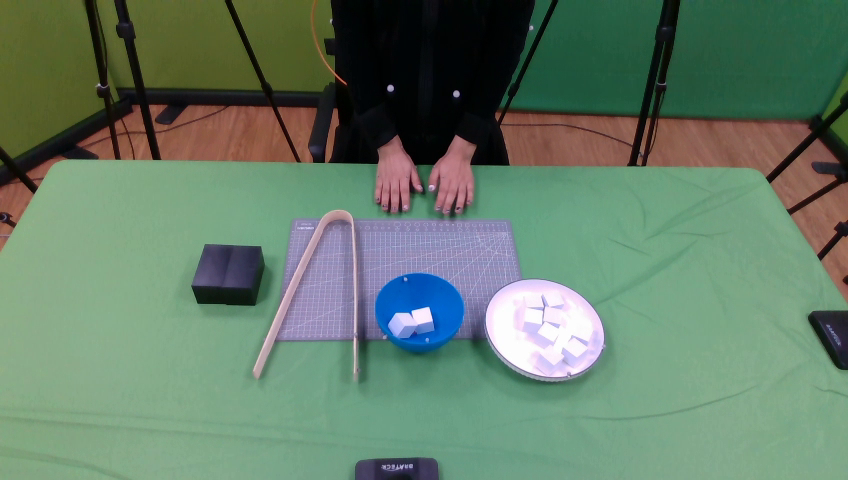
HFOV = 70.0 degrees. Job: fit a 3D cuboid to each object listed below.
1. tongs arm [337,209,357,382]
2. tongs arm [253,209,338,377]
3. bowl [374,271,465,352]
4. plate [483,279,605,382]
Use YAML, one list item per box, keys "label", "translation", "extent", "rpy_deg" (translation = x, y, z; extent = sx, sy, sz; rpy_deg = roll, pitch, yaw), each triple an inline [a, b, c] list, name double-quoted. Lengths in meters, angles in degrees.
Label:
- label: "tongs arm"
  translation: [-0.143, 0.083, 1.094]
  extent: [0.051, 0.026, 0.382]
  rpy_deg: [-2, 46, -1]
- label: "tongs arm"
  translation: [-0.227, 0.079, 1.095]
  extent: [0.028, 0.028, 0.385]
  rpy_deg: [5, 46, 11]
- label: "bowl"
  translation: [-0.009, 0.136, 1.024]
  extent: [0.151, 0.077, 0.150]
  rpy_deg: [2, 47, -2]
- label: "plate"
  translation: [0.204, 0.158, 1.046]
  extent: [0.208, 0.039, 0.206]
  rpy_deg: [3, 47, -3]
